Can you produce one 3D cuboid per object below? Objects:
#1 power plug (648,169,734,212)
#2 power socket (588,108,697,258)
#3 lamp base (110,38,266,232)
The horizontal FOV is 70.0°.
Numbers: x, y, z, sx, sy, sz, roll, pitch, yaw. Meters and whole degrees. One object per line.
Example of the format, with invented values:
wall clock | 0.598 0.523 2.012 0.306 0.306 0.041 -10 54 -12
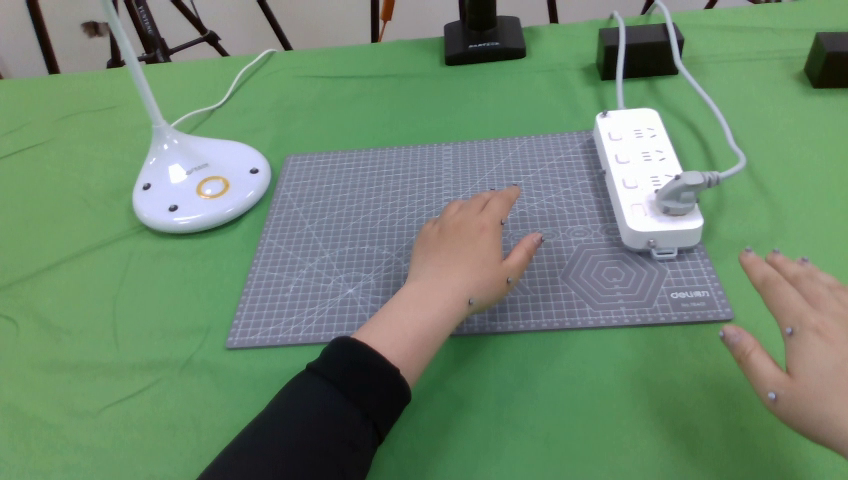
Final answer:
power plug | 0.250 -0.039 0.571 0.072 0.053 0.035 5 45 13
power socket | 0.225 -0.072 0.642 0.072 0.033 0.224 -2 44 5
lamp base | -0.286 -0.125 0.673 0.177 0.182 0.160 25 53 34
